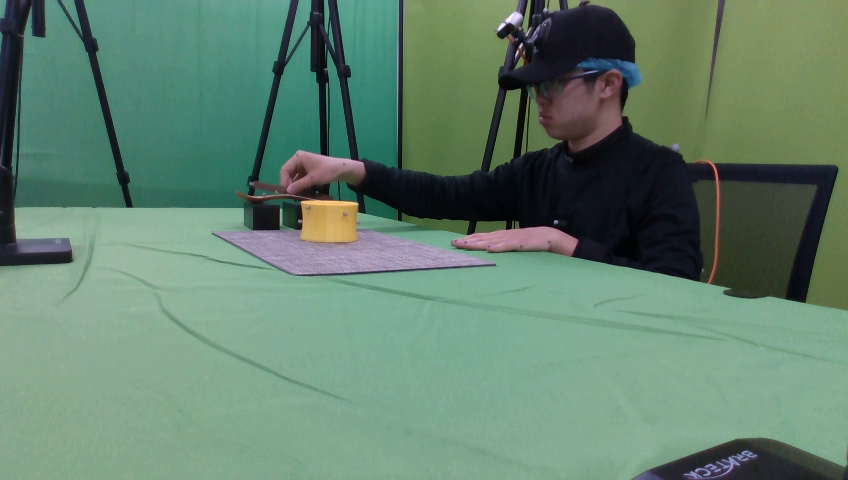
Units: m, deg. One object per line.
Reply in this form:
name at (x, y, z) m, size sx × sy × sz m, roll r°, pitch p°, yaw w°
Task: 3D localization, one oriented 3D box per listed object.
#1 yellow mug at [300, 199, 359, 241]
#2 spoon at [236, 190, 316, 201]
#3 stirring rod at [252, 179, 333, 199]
yellow mug at (-0.157, -0.037, 1.060) m, size 0.099 × 0.064 × 0.131 m, roll 6°, pitch 7°, yaw 27°
spoon at (-0.290, -0.088, 1.248) m, size 0.195 × 0.021 × 0.041 m, roll 0°, pitch 6°, yaw -32°
stirring rod at (-0.255, -0.099, 1.191) m, size 0.177 × 0.014 × 0.006 m, roll 8°, pitch -12°, yaw -40°
